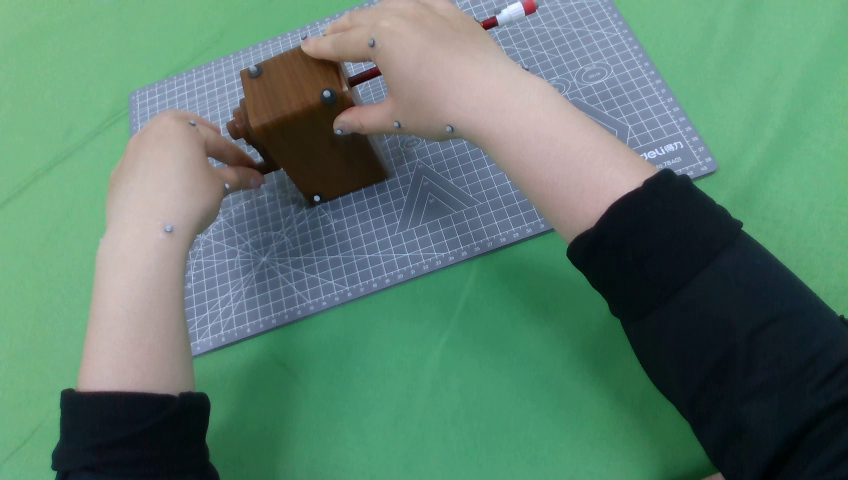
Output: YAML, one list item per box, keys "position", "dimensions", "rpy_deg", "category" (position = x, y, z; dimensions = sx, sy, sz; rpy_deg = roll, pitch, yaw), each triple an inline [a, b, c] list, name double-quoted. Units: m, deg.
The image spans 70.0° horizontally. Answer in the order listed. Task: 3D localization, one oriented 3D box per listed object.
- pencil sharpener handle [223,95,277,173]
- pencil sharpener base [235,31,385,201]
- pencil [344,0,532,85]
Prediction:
- position: [-0.134, -0.073, 0.446]
  dimensions: [0.030, 0.068, 0.035]
  rpy_deg: [-23, 61, 3]
  category: "pencil sharpener handle"
- position: [-0.084, -0.087, 0.455]
  dimensions: [0.076, 0.108, 0.061]
  rpy_deg: [-23, 60, 3]
  category: "pencil sharpener base"
- position: [-0.015, -0.130, 0.426]
  dimensions: [0.194, 0.012, 0.012]
  rpy_deg: [-22, 61, 4]
  category: "pencil"
